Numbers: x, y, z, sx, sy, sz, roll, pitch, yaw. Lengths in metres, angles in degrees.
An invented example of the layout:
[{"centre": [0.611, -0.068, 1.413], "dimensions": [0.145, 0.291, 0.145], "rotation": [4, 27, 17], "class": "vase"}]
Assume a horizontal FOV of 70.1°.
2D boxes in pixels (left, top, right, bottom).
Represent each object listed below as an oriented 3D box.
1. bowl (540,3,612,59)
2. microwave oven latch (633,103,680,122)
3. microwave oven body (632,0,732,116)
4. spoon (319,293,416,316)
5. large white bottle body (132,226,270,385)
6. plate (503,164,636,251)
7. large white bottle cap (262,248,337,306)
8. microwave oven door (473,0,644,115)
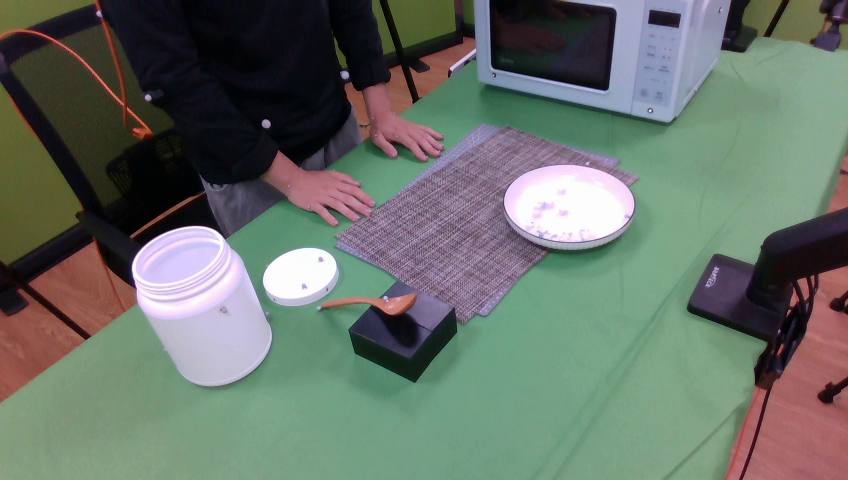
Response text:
[{"centre": [0.324, -0.441, 1.298], "dimensions": [0.151, 0.077, 0.150], "rotation": [-4, 41, 4], "class": "bowl"}, {"centre": [0.444, -0.249, 1.157], "dimensions": [0.078, 0.029, 0.030], "rotation": [21, 48, 30], "class": "microwave oven latch"}, {"centre": [0.377, -0.462, 1.267], "dimensions": [0.438, 0.261, 0.327], "rotation": [21, 48, 30], "class": "microwave oven body"}, {"centre": [-0.082, 0.086, 0.826], "dimensions": [0.192, 0.022, 0.041], "rotation": [-3, 36, 41], "class": "spoon"}, {"centre": [-0.286, 0.085, 0.784], "dimensions": [0.130, 0.185, 0.130], "rotation": [-4, 41, 4], "class": "large white bottle body"}, {"centre": [0.231, -0.051, 0.976], "dimensions": [0.209, 0.038, 0.208], "rotation": [-3, 41, 3], "class": "plate"}, {"centre": [-0.192, 0.056, 0.934], "dimensions": [0.115, 0.018, 0.114], "rotation": [-4, 41, 4], "class": "large white bottle cap"}, {"centre": [0.257, -0.396, 1.199], "dimensions": [0.353, 0.245, 0.039], "rotation": [21, 48, 29], "class": "microwave oven door"}]
